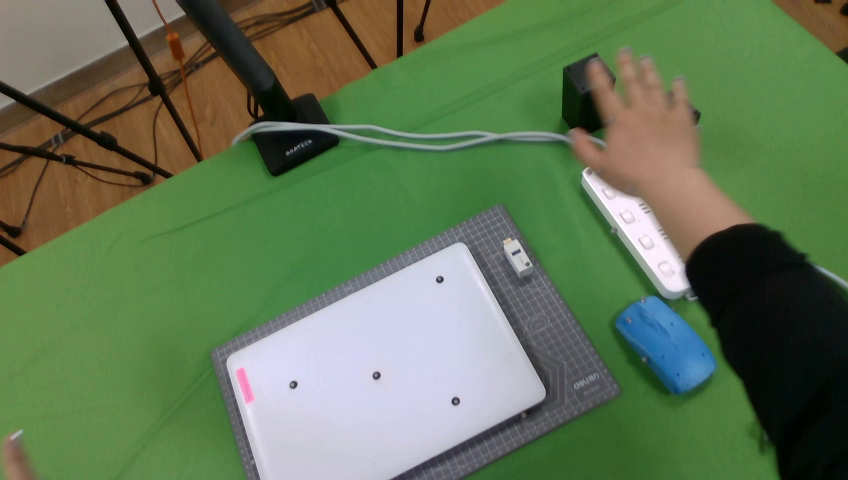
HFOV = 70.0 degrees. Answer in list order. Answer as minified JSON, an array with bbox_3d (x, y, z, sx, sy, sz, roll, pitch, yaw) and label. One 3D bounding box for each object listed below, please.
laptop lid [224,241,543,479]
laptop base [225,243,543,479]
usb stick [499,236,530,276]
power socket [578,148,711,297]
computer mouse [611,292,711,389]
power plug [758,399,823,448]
[{"bbox_3d":[-0.061,0.168,0.752,0.357,0.013,0.239,-25,64,-2],"label":"laptop lid"},{"bbox_3d":[-0.059,0.172,0.763,0.354,0.023,0.233,-27,65,-3],"label":"laptop base"},{"bbox_3d":[0.116,0.016,0.797,0.021,0.027,0.058,-29,60,1],"label":"usb stick"},{"bbox_3d":[0.281,-0.027,0.785,0.072,0.033,0.224,-27,62,-2],"label":"power socket"},{"bbox_3d":[0.277,0.115,0.714,0.063,0.041,0.116,-33,58,-3],"label":"computer mouse"},{"bbox_3d":[0.397,0.194,0.648,0.072,0.035,0.052,-15,43,15],"label":"power plug"}]
